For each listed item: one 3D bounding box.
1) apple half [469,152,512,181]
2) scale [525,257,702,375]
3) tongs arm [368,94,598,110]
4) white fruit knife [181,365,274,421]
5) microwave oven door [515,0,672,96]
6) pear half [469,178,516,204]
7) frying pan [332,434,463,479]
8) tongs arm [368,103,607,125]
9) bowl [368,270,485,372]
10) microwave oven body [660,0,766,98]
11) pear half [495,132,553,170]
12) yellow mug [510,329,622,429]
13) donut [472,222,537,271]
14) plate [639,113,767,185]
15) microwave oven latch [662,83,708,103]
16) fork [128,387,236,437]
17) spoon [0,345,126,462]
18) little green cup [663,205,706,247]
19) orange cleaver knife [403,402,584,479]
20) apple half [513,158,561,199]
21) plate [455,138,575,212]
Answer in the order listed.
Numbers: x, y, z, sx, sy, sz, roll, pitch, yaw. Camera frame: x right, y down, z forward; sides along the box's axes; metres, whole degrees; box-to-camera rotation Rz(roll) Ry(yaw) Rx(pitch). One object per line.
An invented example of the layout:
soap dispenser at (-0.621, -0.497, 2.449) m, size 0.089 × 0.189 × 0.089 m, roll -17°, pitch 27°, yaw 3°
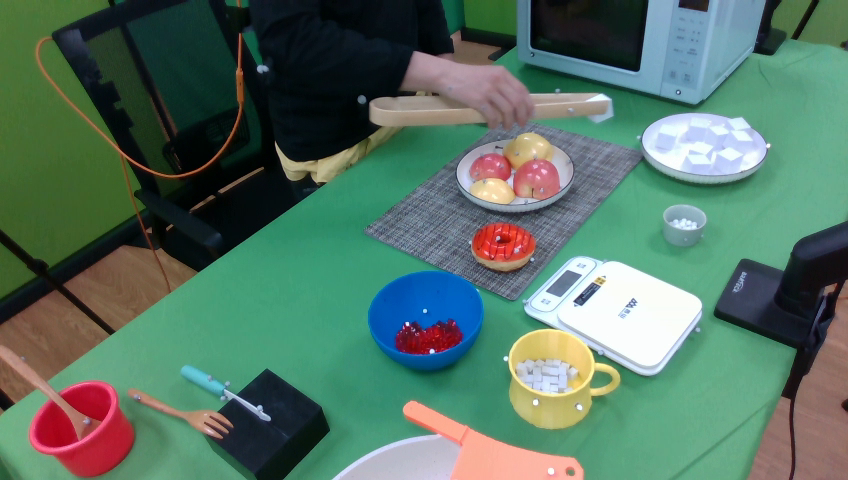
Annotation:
apple half at (0.120, -0.139, 1.089) m, size 0.081 × 0.033 × 0.081 m, roll 0°, pitch 45°, yaw 0°
scale at (0.254, 0.091, 0.821) m, size 0.199 × 0.032 × 0.149 m, roll 28°, pitch 51°, yaw 35°
tongs arm at (0.102, -0.214, 0.965) m, size 0.386 × 0.026 × 0.050 m, roll -1°, pitch 37°, yaw -9°
white fruit knife at (-0.245, 0.188, 0.747) m, size 0.205 × 0.027 × 0.016 m, roll 9°, pitch 41°, yaw 41°
microwave oven door at (0.343, -0.454, 1.259) m, size 0.353 × 0.245 × 0.039 m, roll 26°, pitch 51°, yaw 33°
pear half at (0.115, -0.090, 1.035) m, size 0.087 × 0.031 × 0.071 m, roll 27°, pitch 38°, yaw 31°
frying pan at (-0.089, 0.306, 0.564) m, size 0.487 × 0.103 × 0.306 m, roll 10°, pitch 41°, yaw 7°
tongs arm at (0.107, -0.200, 0.947) m, size 0.389 × 0.028 × 0.028 m, roll -4°, pitch 41°, yaw -12°
bowl at (0.007, 0.118, 0.791) m, size 0.151 × 0.077 × 0.150 m, roll -5°, pitch 39°, yaw 4°
microwave oven body at (0.472, -0.513, 1.317) m, size 0.438 × 0.261 × 0.327 m, roll 26°, pitch 51°, yaw 34°
pear half at (0.175, -0.168, 1.094) m, size 0.109 × 0.056 × 0.076 m, roll 16°, pitch 55°, yaw 29°
yellow mug at (0.168, 0.164, 0.721) m, size 0.130 × 0.064 × 0.099 m, roll 0°, pitch 40°, yaw 8°
donut at (0.123, 0.009, 0.923) m, size 0.099 × 0.048 × 0.098 m, roll -3°, pitch 38°, yaw 3°
plate at (0.489, -0.157, 1.074) m, size 0.207 × 0.039 × 0.206 m, roll -4°, pitch 40°, yaw 4°
microwave oven latch at (0.518, -0.296, 1.204) m, size 0.078 × 0.029 × 0.030 m, roll 28°, pitch 52°, yaw 35°
fork at (-0.305, 0.207, 0.744) m, size 0.206 × 0.019 × 0.028 m, roll 3°, pitch 41°, yaw 36°
spoon at (-0.434, 0.192, 0.720) m, size 0.194 × 0.021 × 0.042 m, roll 47°, pitch 53°, yaw -7°
little green cup at (0.396, -0.020, 0.926) m, size 0.061 × 0.039 × 0.061 m, roll -4°, pitch 40°, yaw 4°
orange cleaver knife at (0.062, 0.222, 0.609) m, size 0.210 × 0.012 × 0.077 m, roll 15°, pitch 48°, yaw 25°
apple half at (0.194, -0.111, 1.031) m, size 0.080 × 0.053 × 0.075 m, roll 12°, pitch 40°, yaw 26°
plate at (0.159, -0.111, 1.063) m, size 0.209 × 0.038 × 0.208 m, roll -4°, pitch 40°, yaw 4°
